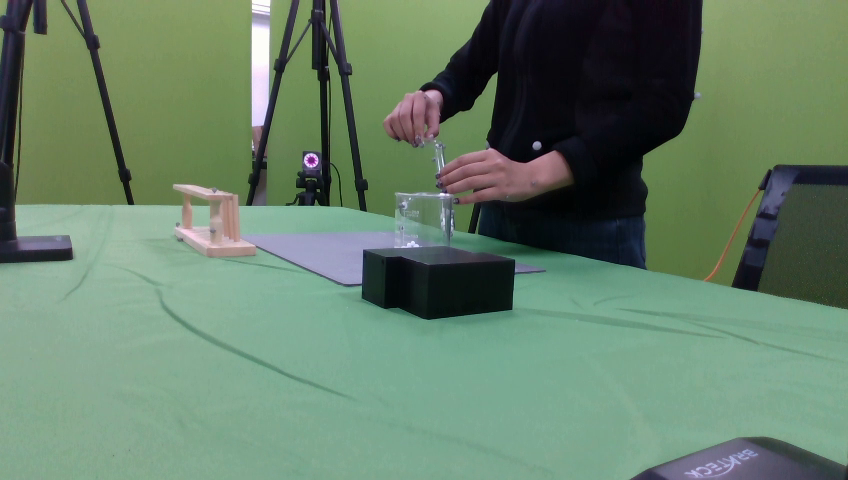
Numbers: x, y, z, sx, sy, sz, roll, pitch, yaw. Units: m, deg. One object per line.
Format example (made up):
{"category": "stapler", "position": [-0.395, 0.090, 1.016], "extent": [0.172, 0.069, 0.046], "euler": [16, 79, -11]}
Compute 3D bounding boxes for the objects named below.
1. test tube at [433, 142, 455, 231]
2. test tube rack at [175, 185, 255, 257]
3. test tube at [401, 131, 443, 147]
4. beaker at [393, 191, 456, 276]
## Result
{"category": "test tube", "position": [0.030, -0.081, 0.903], "extent": [0.017, 0.150, 0.017], "euler": [-6, -24, -2]}
{"category": "test tube rack", "position": [-0.324, -0.035, 0.922], "extent": [0.067, 0.085, 0.241], "euler": [-2, 9, -31]}
{"category": "test tube", "position": [-0.005, -0.167, 0.997], "extent": [0.017, 0.017, 0.150], "euler": [-1, 13, -24]}
{"category": "beaker", "position": [-0.003, -0.010, 0.749], "extent": [0.074, 0.100, 0.083], "euler": [-3, 8, -40]}
